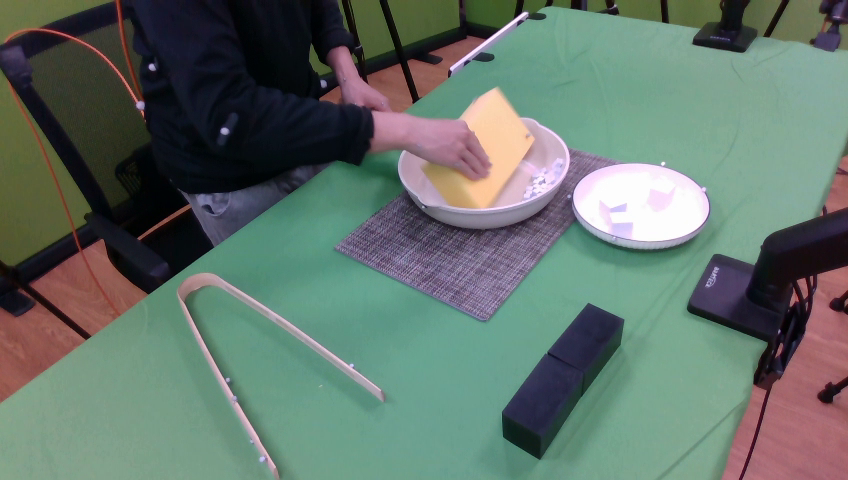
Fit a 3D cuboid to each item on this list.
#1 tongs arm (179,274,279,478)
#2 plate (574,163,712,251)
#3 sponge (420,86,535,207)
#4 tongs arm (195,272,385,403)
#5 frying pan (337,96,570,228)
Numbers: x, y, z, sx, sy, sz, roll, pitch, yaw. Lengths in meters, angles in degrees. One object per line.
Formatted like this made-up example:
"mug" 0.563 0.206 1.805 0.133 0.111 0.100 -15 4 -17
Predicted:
"tongs arm" -0.260 0.161 0.807 0.051 0.026 0.381 -28 44 -25
"plate" 0.344 -0.050 0.966 0.207 0.039 0.206 -4 40 4
"sponge" 0.095 -0.148 1.014 0.060 0.119 0.207 -17 31 49
"tongs arm" -0.198 0.125 0.847 0.384 0.028 0.028 25 52 32
"frying pan" 0.023 -0.167 1.090 0.484 0.103 0.308 32 52 26
